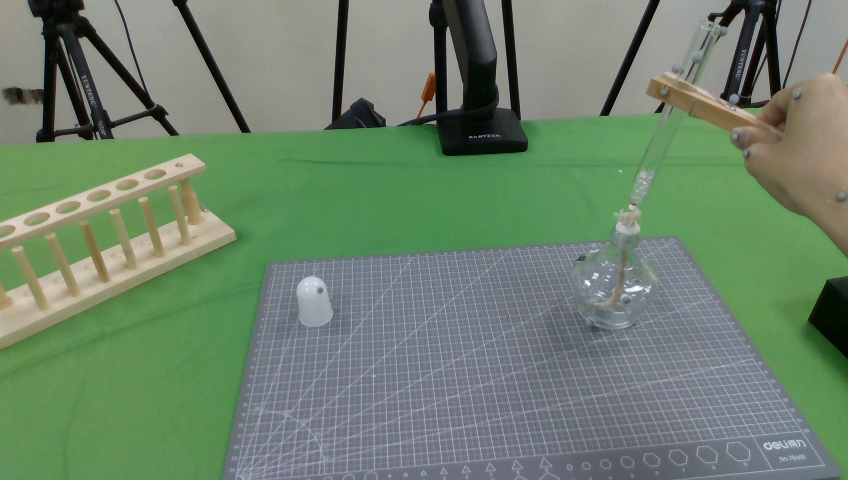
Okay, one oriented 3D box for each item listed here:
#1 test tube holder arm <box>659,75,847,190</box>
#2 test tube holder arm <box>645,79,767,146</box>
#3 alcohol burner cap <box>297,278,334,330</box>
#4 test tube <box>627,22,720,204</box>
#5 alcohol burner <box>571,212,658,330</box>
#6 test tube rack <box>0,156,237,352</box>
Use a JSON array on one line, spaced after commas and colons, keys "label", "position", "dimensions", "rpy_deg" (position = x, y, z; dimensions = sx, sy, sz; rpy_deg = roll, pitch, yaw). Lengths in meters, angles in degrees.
[{"label": "test tube holder arm", "position": [0.231, -0.069, 0.407], "dimensions": [0.013, 0.015, 0.176], "rpy_deg": [-26, 51, -29]}, {"label": "test tube holder arm", "position": [0.198, -0.091, 0.427], "dimensions": [0.087, 0.015, 0.010], "rpy_deg": [35, 50, 29]}, {"label": "alcohol burner cap", "position": [-0.103, 0.057, 0.566], "dimensions": [0.034, 0.048, 0.033], "rpy_deg": [-1, 37, 1]}, {"label": "test tube", "position": [0.183, -0.089, 0.456], "dimensions": [0.017, 0.151, 0.017], "rpy_deg": [5, 40, -4]}, {"label": "alcohol burner", "position": [0.174, 0.023, 0.544], "dimensions": [0.078, 0.120, 0.077], "rpy_deg": [0, 39, 0]}, {"label": "test tube rack", "position": [-0.321, 0.005, 0.609], "dimensions": [0.242, 0.086, 0.066], "rpy_deg": [-30, 45, -33]}]
